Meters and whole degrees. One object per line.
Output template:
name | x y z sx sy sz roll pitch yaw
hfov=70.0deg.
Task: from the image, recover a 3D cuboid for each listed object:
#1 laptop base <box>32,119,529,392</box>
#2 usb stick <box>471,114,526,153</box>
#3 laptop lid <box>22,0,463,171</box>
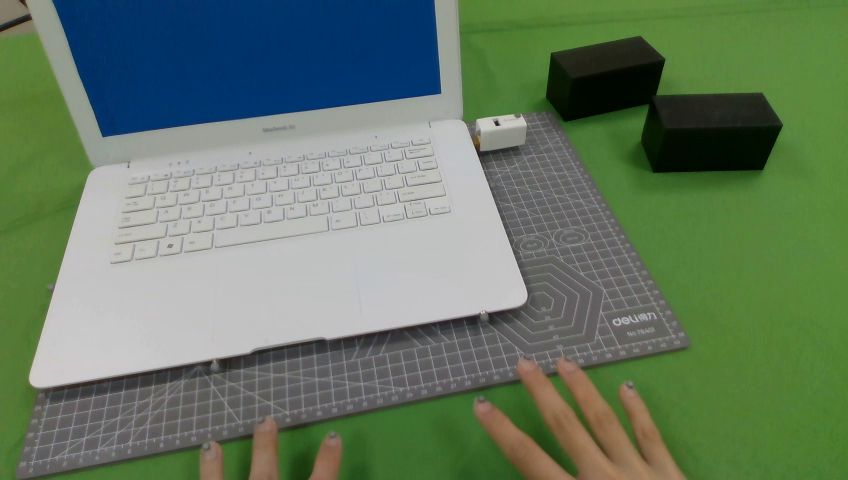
laptop base | -0.114 -0.003 0.505 0.355 0.023 0.233 -9 50 -6
usb stick | 0.065 -0.099 0.571 0.059 0.027 0.021 -11 47 -4
laptop lid | -0.145 -0.186 0.522 0.357 0.244 0.013 -10 32 -5
